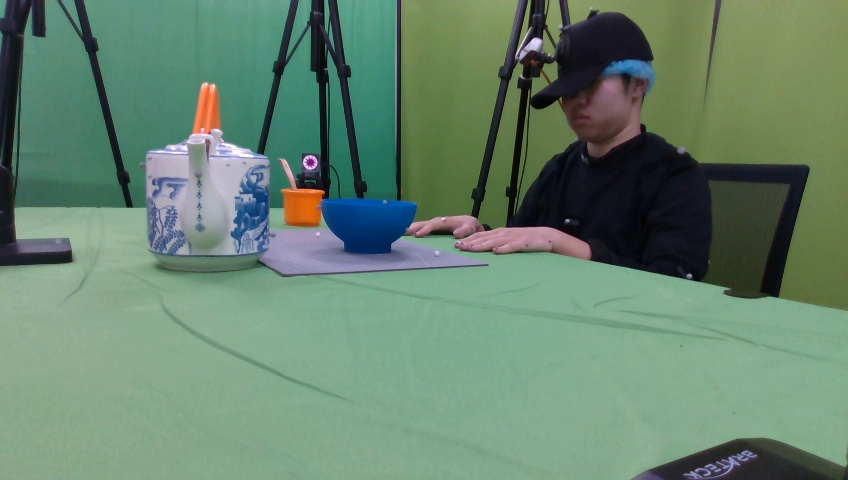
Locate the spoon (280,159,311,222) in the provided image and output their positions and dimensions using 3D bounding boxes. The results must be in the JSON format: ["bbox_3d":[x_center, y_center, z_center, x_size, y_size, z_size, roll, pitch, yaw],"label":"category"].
[{"bbox_3d":[-0.285,-0.111,1.320,0.042,0.193,0.021,-3,-35,-30],"label":"spoon"}]

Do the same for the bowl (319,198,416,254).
[{"bbox_3d":[-0.089,-0.022,0.941,0.151,0.077,0.151,2,7,0],"label":"bowl"}]

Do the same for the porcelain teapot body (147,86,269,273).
[{"bbox_3d":[-0.263,-0.074,0.738,0.146,0.225,0.204,0,8,-16],"label":"porcelain teapot body"}]

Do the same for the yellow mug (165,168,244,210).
[{"bbox_3d":[-0.370,-0.086,1.027,0.131,0.064,0.100,5,7,4],"label":"yellow mug"}]

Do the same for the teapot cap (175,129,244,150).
[{"bbox_3d":[-0.268,-0.117,0.760,0.085,0.044,0.085,4,9,0],"label":"teapot cap"}]
